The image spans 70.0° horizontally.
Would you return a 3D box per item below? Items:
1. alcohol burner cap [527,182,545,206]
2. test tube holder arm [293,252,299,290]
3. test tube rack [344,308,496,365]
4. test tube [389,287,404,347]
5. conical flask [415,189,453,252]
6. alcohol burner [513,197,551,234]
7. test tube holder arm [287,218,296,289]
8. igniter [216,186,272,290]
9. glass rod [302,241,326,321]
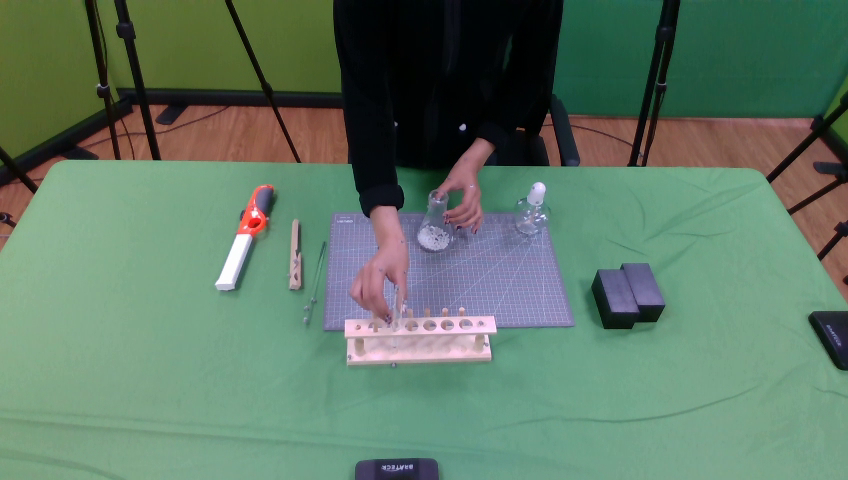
[{"bbox_3d":[0.222,-0.092,1.189,0.034,0.048,0.033,2,55,-3],"label":"alcohol burner cap"},{"bbox_3d":[-0.241,0.056,1.131,0.010,0.015,0.087,24,35,-33],"label":"test tube holder arm"},{"bbox_3d":[-0.009,0.154,1.007,0.242,0.085,0.066,-1,46,-5],"label":"test tube rack"},{"bbox_3d":[-0.044,0.123,0.944,0.017,0.151,0.017,4,48,-4],"label":"test tube"},{"bbox_3d":[0.022,-0.041,1.168,0.075,0.122,0.075,2,45,-2],"label":"conical flask"},{"bbox_3d":[0.220,-0.069,1.216,0.078,0.119,0.077,3,47,-3],"label":"alcohol burner"},{"bbox_3d":[-0.254,0.022,1.158,0.013,0.015,0.177,23,36,-34],"label":"test tube holder arm"},{"bbox_3d":[-0.347,-0.014,1.182,0.057,0.025,0.275,-2,45,8],"label":"igniter"},{"bbox_3d":[-0.203,0.071,1.123,0.008,0.008,0.198,4,44,1],"label":"glass rod"}]
